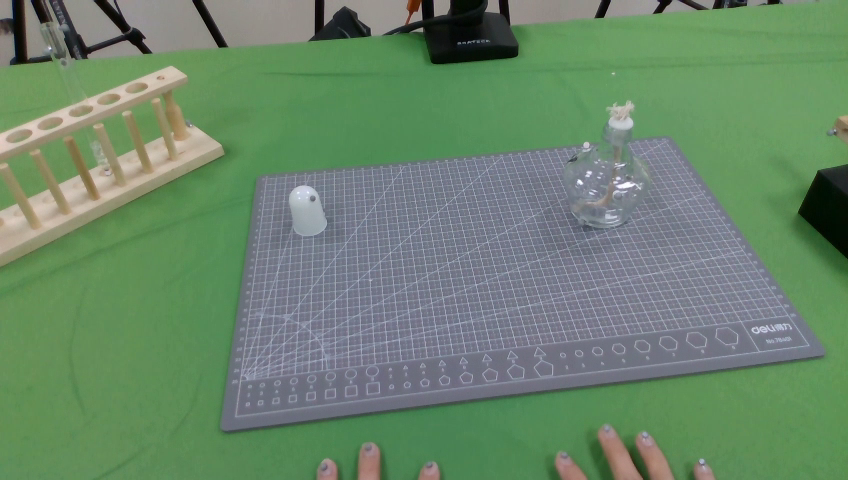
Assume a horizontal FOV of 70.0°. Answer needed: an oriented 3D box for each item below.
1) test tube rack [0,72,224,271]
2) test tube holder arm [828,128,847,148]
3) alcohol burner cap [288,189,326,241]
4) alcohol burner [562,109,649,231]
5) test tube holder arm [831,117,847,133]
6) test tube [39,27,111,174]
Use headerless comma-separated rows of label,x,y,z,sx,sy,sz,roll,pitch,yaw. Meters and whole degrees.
test tube rack,-0.331,-0.075,0.599,0.066,0.086,0.242,33,53,32
test tube holder arm,0.417,-0.052,0.518,0.015,0.013,0.176,-11,43,-9
alcohol burner cap,-0.111,-0.026,0.565,0.034,0.048,0.033,-1,43,2
alcohol burner,0.165,-0.067,0.543,0.078,0.120,0.077,-1,45,1
test tube holder arm,0.406,-0.085,0.546,0.015,0.010,0.087,-11,43,-9
test tube,-0.333,-0.129,0.585,0.017,0.151,0.017,-1,39,1
